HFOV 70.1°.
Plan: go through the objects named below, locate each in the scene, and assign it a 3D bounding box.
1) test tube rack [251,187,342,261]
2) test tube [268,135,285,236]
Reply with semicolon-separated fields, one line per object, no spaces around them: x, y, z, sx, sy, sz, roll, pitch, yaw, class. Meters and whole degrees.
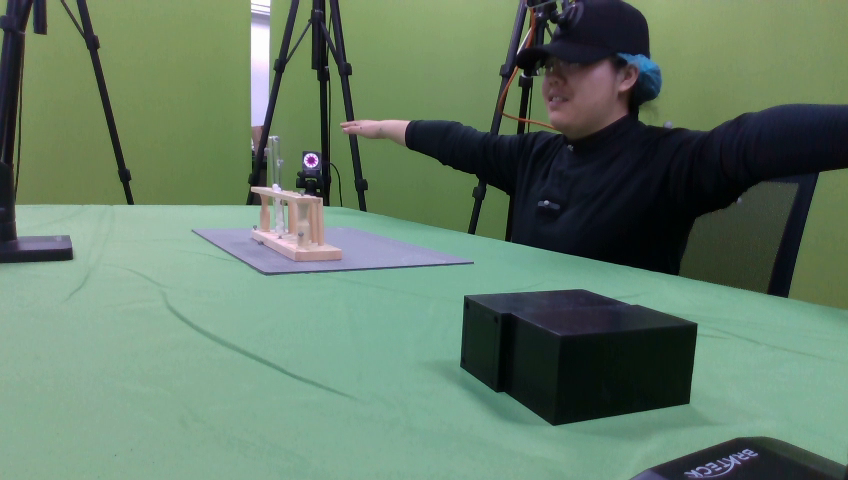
-0.196;-0.030;0.902;0.067;0.085;0.241;-2;8;-29;test tube rack
-0.219;-0.081;0.902;0.017;0.150;0.017;-2;6;1;test tube
